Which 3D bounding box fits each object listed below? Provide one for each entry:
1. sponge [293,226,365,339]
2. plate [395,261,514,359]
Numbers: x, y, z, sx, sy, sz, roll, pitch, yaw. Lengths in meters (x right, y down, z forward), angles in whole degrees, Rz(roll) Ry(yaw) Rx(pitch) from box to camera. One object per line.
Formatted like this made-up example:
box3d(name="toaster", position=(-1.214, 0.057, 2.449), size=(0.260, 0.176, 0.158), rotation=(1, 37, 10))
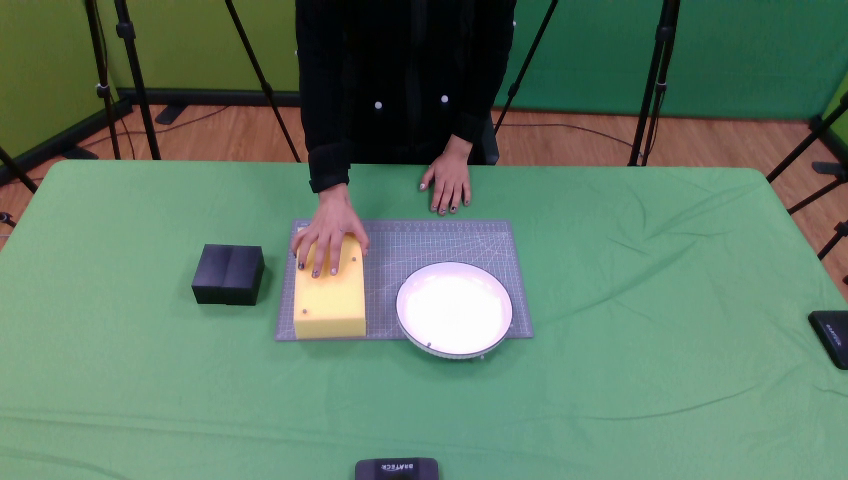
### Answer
box3d(name="sponge", position=(-0.168, 0.072, 1.079), size=(0.118, 0.061, 0.205), rotation=(-3, 50, -7))
box3d(name="plate", position=(0.052, 0.124, 1.066), size=(0.209, 0.038, 0.208), rotation=(2, 46, -2))
